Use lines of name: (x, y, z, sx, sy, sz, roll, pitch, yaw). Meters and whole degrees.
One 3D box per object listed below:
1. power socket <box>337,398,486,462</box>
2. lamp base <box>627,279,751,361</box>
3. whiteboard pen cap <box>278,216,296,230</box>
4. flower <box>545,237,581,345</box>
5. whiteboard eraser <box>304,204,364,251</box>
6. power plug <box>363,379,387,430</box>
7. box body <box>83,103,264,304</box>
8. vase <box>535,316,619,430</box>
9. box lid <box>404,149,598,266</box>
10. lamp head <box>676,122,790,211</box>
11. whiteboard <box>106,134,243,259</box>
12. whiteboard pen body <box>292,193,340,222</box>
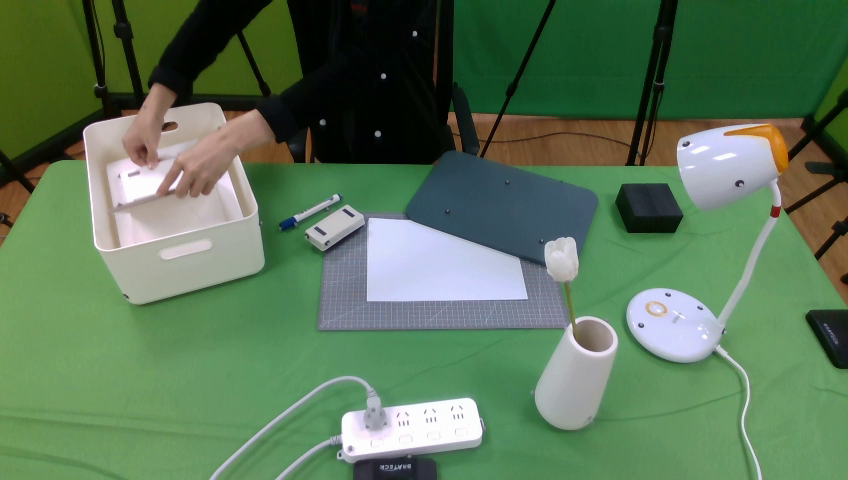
power socket: (-0.018, 0.285, 0.914, 0.227, 0.033, 0.071, -4, 46, -8)
lamp base: (0.460, 0.100, 1.027, 0.178, 0.181, 0.160, 27, 51, 17)
whiteboard pen cap: (-0.273, -0.034, 1.213, 0.033, 0.018, 0.018, -32, 56, -31)
flower: (0.213, 0.137, 0.846, 0.038, 0.364, 0.044, 21, 55, 39)
whiteboard eraser: (-0.175, -0.022, 1.188, 0.055, 0.042, 0.112, 36, 54, 26)
power plug: (-0.071, 0.252, 0.911, 0.035, 0.053, 0.072, 3, 40, 0)
box body: (-0.465, -0.077, 1.137, 0.254, 0.161, 0.361, -16, 50, -19)
vase: (0.229, 0.200, 0.900, 0.098, 0.201, 0.097, 3, 46, -3)
box lid: (0.171, -0.073, 1.289, 0.371, 0.015, 0.262, 19, 47, 14)
lamp head: (0.423, -0.104, 0.819, 0.122, 0.113, 0.112, -13, 33, 40)
whiteboard: (-0.467, -0.109, 1.083, 0.217, 0.144, 0.303, -20, 57, -13)
whiteboard pen body: (-0.231, -0.062, 1.243, 0.141, 0.017, 0.017, -32, 56, -30)
